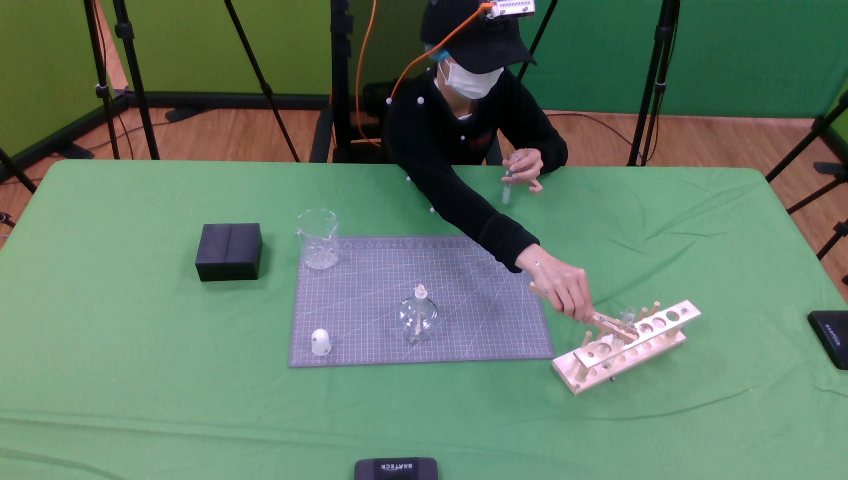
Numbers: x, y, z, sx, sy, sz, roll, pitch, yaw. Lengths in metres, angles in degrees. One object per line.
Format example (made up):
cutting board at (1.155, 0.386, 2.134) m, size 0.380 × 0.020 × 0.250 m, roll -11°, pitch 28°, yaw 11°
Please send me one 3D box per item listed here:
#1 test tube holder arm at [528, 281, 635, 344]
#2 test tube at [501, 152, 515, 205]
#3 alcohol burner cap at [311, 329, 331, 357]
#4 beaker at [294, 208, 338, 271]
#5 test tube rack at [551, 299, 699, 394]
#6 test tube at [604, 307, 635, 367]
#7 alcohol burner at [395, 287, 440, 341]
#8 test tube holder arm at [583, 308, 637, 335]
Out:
test tube holder arm at (0.246, 0.113, 0.953) m, size 0.178 × 0.015 × 0.013 m, roll 28°, pitch 47°, yaw 12°
test tube at (0.167, -0.120, 1.214) m, size 0.017 × 0.151 × 0.017 m, roll 0°, pitch 55°, yaw 1°
alcohol burner cap at (-0.173, 0.168, 1.004) m, size 0.034 × 0.048 × 0.033 m, roll 2°, pitch 46°, yaw -2°
beaker at (-0.196, 0.003, 1.123) m, size 0.074 × 0.101 × 0.083 m, roll -23°, pitch 52°, yaw -24°
test tube rack at (0.339, 0.166, 1.021) m, size 0.242 × 0.085 × 0.066 m, roll -19°, pitch 50°, yaw -21°
test tube at (0.308, 0.156, 0.958) m, size 0.017 × 0.151 × 0.017 m, roll 0°, pitch 46°, yaw 0°
alcohol burner at (-0.010, 0.116, 1.018) m, size 0.078 × 0.119 × 0.077 m, roll 3°, pitch 47°, yaw -3°
test tube holder arm at (0.289, 0.128, 0.949) m, size 0.088 × 0.015 × 0.010 m, roll 20°, pitch 47°, yaw 6°
